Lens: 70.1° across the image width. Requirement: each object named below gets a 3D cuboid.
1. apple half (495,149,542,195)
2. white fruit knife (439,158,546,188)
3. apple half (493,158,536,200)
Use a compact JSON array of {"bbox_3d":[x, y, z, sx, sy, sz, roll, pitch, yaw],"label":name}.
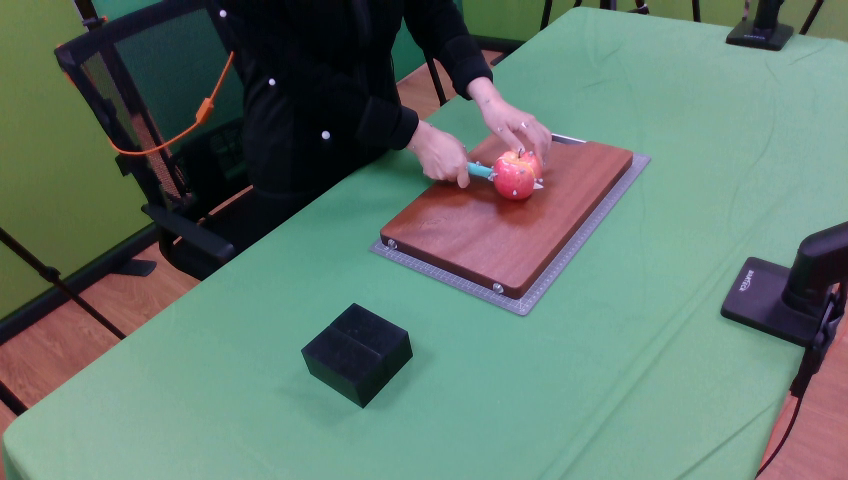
[{"bbox_3d":[0.163,-0.116,1.008,0.080,0.075,0.053,15,40,31],"label":"apple half"},{"bbox_3d":[0.111,-0.113,1.019,0.206,0.027,0.016,16,51,31],"label":"white fruit knife"},{"bbox_3d":[0.141,-0.091,0.985,0.080,0.081,0.033,19,49,30],"label":"apple half"}]
